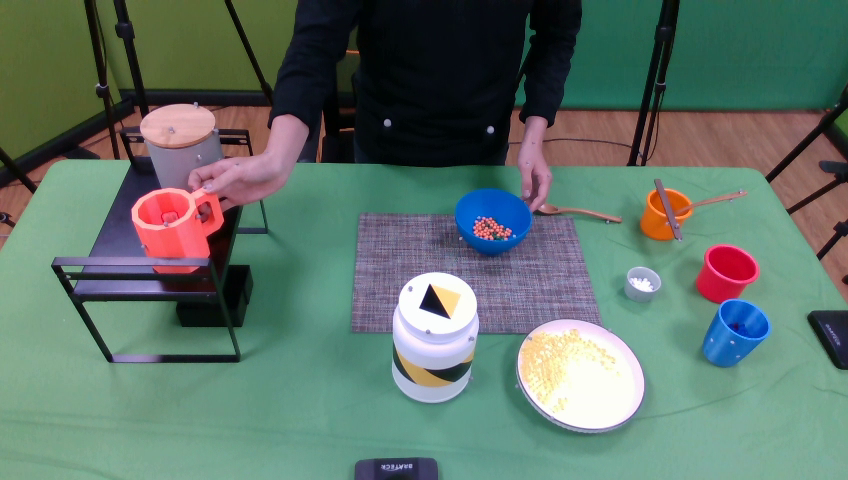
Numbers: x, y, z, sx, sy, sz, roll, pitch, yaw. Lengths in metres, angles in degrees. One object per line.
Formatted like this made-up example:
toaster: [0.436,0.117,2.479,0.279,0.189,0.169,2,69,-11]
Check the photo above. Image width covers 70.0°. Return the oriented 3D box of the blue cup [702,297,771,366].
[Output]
blue cup: [0.519,0.162,1.025,0.093,0.101,0.092,3,45,-3]

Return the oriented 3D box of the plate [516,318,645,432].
plate: [0.253,0.221,0.992,0.209,0.038,0.208,2,46,-2]

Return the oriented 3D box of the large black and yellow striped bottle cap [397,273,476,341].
large black and yellow striped bottle cap: [0.018,0.094,0.878,0.115,0.019,0.114,3,46,-3]

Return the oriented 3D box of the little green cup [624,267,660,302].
little green cup: [0.406,0.084,1.135,0.061,0.039,0.061,3,45,-3]

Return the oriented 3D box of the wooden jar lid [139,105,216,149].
wooden jar lid: [-0.372,-0.169,0.920,0.108,0.021,0.107,4,44,-4]

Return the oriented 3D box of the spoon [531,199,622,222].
spoon: [0.322,-0.060,1.279,0.194,0.022,0.041,8,31,4]

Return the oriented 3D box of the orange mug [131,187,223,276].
orange mug: [-0.354,-0.022,0.887,0.083,0.101,0.126,32,56,24]

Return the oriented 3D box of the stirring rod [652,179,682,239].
stirring rod: [0.481,-0.065,1.204,0.014,0.006,0.175,1,46,0]

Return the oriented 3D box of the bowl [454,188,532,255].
bowl: [0.130,-0.024,1.186,0.151,0.077,0.150,3,45,-2]

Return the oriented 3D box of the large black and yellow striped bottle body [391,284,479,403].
large black and yellow striped bottle body: [0.015,0.153,0.938,0.131,0.185,0.130,2,46,-2]

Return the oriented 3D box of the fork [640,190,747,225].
fork: [0.533,-0.065,1.211,0.207,0.019,0.028,-22,28,39]

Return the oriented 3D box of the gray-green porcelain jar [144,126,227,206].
gray-green porcelain jar: [-0.375,-0.125,0.966,0.106,0.127,0.105,2,46,-2]
